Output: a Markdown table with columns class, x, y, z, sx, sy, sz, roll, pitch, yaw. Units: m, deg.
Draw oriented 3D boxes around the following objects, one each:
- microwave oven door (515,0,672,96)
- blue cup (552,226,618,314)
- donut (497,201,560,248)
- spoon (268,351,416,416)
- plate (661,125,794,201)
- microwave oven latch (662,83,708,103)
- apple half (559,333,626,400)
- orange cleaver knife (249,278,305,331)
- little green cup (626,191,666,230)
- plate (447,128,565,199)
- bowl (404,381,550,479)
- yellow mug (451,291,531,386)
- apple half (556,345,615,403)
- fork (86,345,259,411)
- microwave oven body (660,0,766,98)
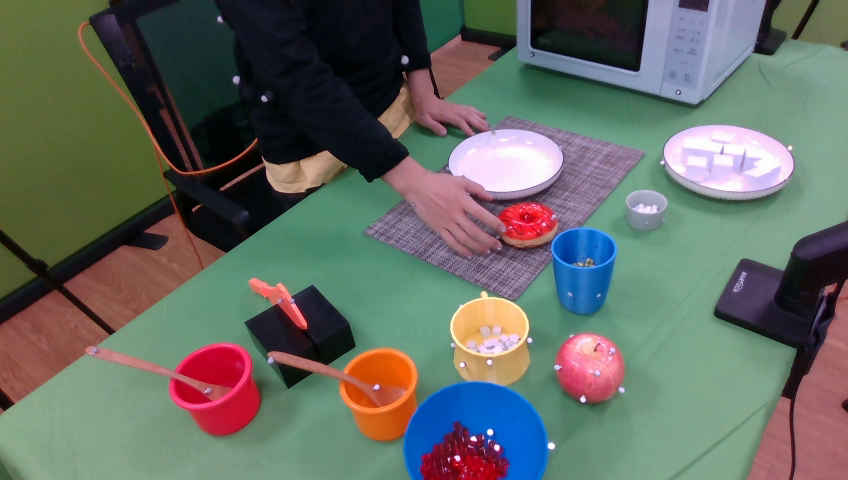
| class | x | y | z | sx | sy | sz | roll | pitch | yaw |
| --- | --- | --- | --- | --- | --- | --- | --- | --- | --- |
| microwave oven door | 0.344 | -0.455 | 1.259 | 0.353 | 0.245 | 0.039 | 26 | 51 | 33 |
| blue cup | 0.218 | 0.047 | 0.826 | 0.092 | 0.101 | 0.092 | -6 | 40 | 5 |
| donut | 0.166 | -0.027 | 0.959 | 0.099 | 0.048 | 0.098 | -5 | 39 | 5 |
| spoon | -0.090 | 0.162 | 0.699 | 0.021 | 0.195 | 0.041 | -44 | 31 | 27 |
| plate | 0.513 | -0.128 | 1.035 | 0.207 | 0.039 | 0.206 | -4 | 40 | 4 |
| microwave oven latch | 0.517 | -0.296 | 1.204 | 0.078 | 0.029 | 0.030 | 27 | 52 | 35 |
| apple half | 0.209 | 0.147 | 0.730 | 0.080 | 0.075 | 0.053 | 26 | 48 | 38 |
| orange cleaver knife | -0.210 | 0.088 | 0.855 | 0.012 | 0.077 | 0.210 | -28 | 15 | -25 |
| little green cup | 0.352 | -0.046 | 0.963 | 0.061 | 0.039 | 0.061 | -4 | 40 | 4 |
| plate | 0.147 | -0.134 | 1.092 | 0.209 | 0.038 | 0.208 | -4 | 40 | 4 |
| bowl | 0.058 | 0.235 | 0.645 | 0.151 | 0.077 | 0.150 | -4 | 39 | 4 |
| yellow mug | 0.085 | 0.120 | 0.786 | 0.100 | 0.064 | 0.130 | -7 | 39 | 1 |
| apple half | 0.181 | 0.167 | 0.709 | 0.080 | 0.081 | 0.033 | 29 | 50 | 35 |
| fork | -0.298 | 0.166 | 0.728 | 0.209 | 0.018 | 0.028 | 28 | 46 | -23 |
| microwave oven body | 0.472 | -0.513 | 1.317 | 0.438 | 0.261 | 0.327 | 26 | 51 | 34 |
